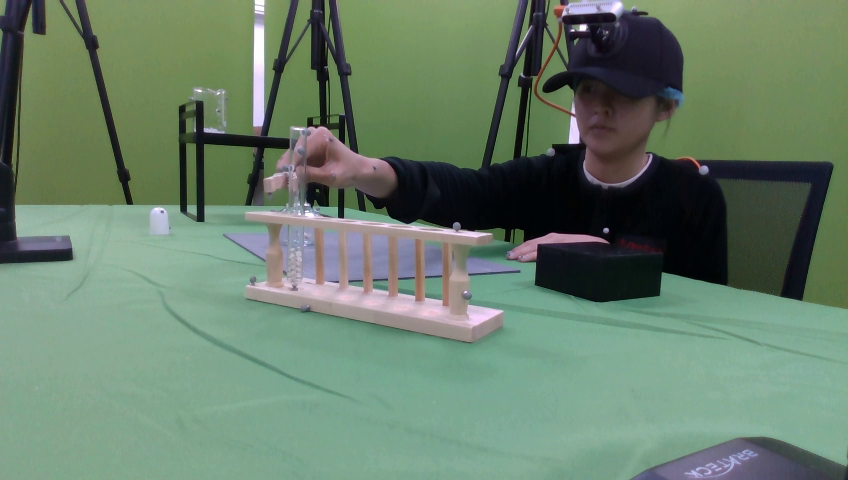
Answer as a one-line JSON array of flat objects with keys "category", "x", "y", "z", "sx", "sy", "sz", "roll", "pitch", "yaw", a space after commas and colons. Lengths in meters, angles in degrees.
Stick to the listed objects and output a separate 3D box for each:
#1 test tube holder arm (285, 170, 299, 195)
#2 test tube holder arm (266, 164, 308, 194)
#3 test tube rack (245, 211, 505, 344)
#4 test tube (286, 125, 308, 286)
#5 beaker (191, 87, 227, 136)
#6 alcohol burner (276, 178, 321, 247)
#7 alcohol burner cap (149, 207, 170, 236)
[{"category": "test tube holder arm", "x": -0.137, "y": -0.060, "z": 0.623, "sx": 0.010, "sy": 0.015, "sz": 0.087, "roll": 2, "pitch": 13, "yaw": -17}, {"category": "test tube holder arm", "x": -0.147, "y": -0.070, "z": 0.665, "sx": 0.013, "sy": 0.015, "sz": 0.178, "roll": 6, "pitch": 12, "yaw": -3}, {"category": "test tube rack", "x": -0.049, "y": 0.025, "z": 0.547, "sx": 0.241, "sy": 0.085, "sz": 0.067, "roll": 7, "pitch": 8, "yaw": 29}, {"category": "test tube", "x": -0.117, "y": -0.030, "z": 0.558, "sx": 0.017, "sy": 0.150, "sz": 0.017, "roll": 4, "pitch": 12, "yaw": -1}, {"category": "beaker", "x": -0.476, "y": -0.284, "z": 1.345, "sx": 0.074, "sy": 0.100, "sz": 0.083, "roll": -3, "pitch": 10, "yaw": -37}, {"category": "alcohol burner", "x": -0.200, "y": -0.050, "z": 0.948, "sx": 0.078, "sy": 0.119, "sz": 0.078, "roll": 1, "pitch": 8, "yaw": 0}, {"category": "alcohol burner cap", "x": -0.445, "y": -0.032, "z": 1.019, "sx": 0.034, "sy": 0.048, "sz": 0.034, "roll": 4, "pitch": 8, "yaw": 0}]
